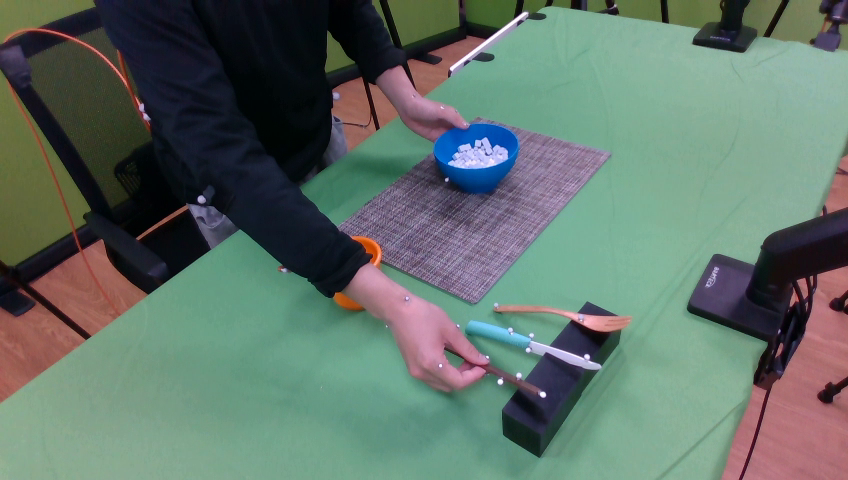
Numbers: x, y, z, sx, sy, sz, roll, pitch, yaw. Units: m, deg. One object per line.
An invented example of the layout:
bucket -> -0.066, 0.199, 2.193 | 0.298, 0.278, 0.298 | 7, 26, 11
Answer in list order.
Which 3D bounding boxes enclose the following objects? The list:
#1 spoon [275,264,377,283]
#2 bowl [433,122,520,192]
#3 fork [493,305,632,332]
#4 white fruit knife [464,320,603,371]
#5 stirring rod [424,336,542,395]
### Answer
spoon -> -0.133, 0.043, 0.840 | 0.041, 0.021, 0.195 | 24, 5, 33
bowl -> 0.094, -0.137, 1.064 | 0.151, 0.077, 0.150 | -4, 41, 4
fork -> 0.171, 0.097, 0.783 | 0.205, 0.019, 0.028 | 4, 41, 43
white fruit knife -> 0.128, 0.130, 0.749 | 0.205, 0.027, 0.016 | 10, 42, 43
stirring rod -> 0.066, 0.147, 0.721 | 0.174, 0.006, 0.014 | 19, 14, 41
